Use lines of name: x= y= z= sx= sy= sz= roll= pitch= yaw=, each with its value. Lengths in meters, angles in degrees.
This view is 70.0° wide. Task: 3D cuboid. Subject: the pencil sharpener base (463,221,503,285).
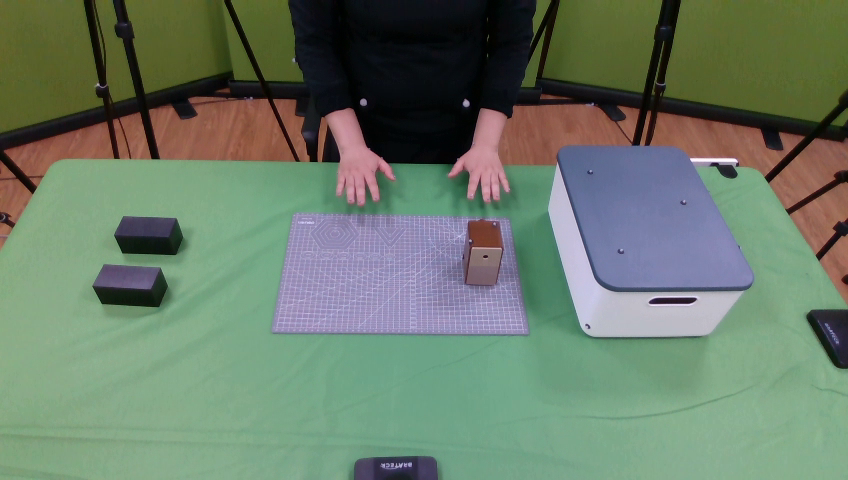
pencil sharpener base: x=0.107 y=0.024 z=1.119 sx=0.061 sy=0.107 sz=0.076 roll=1 pitch=45 yaw=-2

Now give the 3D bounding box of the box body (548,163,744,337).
box body: x=0.391 y=-0.001 z=1.130 sx=0.254 sy=0.161 sz=0.361 roll=-1 pitch=46 yaw=-4

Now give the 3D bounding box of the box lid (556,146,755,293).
box lid: x=0.394 y=-0.051 z=1.075 sx=0.263 sy=0.015 sz=0.369 roll=0 pitch=46 yaw=-4

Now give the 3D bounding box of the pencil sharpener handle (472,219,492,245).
pencil sharpener handle: x=0.104 y=-0.021 z=1.145 sx=0.036 sy=0.068 sz=0.030 roll=7 pitch=44 yaw=-8
